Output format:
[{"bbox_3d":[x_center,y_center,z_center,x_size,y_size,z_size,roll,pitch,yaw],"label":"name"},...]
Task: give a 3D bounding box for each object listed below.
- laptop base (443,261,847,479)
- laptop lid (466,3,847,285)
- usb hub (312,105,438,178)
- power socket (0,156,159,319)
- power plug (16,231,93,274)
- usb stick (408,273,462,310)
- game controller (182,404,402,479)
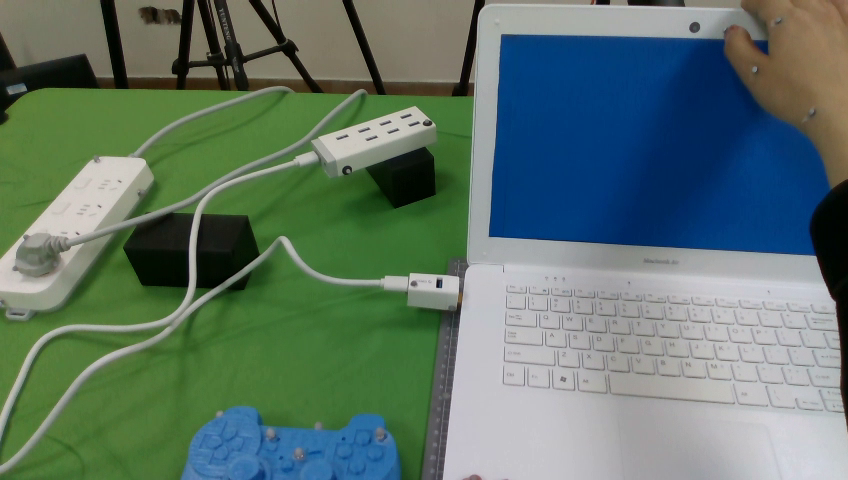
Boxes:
[{"bbox_3d":[0.199,0.117,0.466,0.354,0.023,0.233,3,47,6],"label":"laptop base"},{"bbox_3d":[0.216,-0.075,0.519,0.356,0.242,0.013,2,16,7],"label":"laptop lid"},{"bbox_3d":[-0.050,-0.104,0.639,0.125,0.025,0.049,-23,48,-19],"label":"usb hub"},{"bbox_3d":[-0.353,-0.015,0.624,0.072,0.033,0.225,5,43,7],"label":"power socket"},{"bbox_3d":[-0.335,0.020,0.551,0.072,0.053,0.035,14,44,14],"label":"power plug"},{"bbox_3d":[0.016,0.046,0.530,0.059,0.027,0.021,7,42,-2],"label":"usb stick"},{"bbox_3d":[-0.090,0.160,0.415,0.155,0.052,0.096,3,39,6],"label":"game controller"}]
